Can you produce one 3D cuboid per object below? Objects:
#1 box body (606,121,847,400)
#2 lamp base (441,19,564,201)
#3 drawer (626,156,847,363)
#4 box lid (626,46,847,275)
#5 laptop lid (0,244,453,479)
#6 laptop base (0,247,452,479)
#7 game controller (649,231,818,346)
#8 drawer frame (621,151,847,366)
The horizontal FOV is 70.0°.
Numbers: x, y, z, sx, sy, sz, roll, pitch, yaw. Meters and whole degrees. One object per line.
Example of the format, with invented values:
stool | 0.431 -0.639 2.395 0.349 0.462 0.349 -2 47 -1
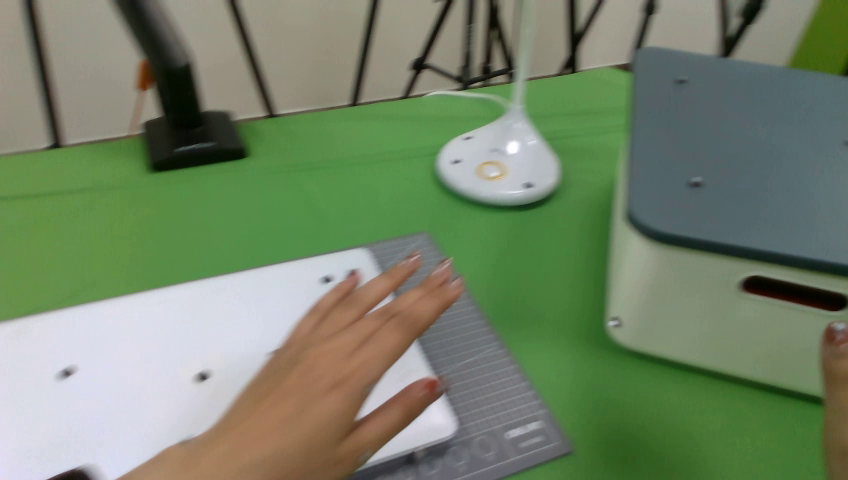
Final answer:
box body | 0.335 -0.035 0.623 0.253 0.162 0.362 13 40 11
lamp base | 0.108 -0.168 0.746 0.160 0.182 0.178 13 38 11
drawer | 0.313 0.008 0.616 0.194 0.074 0.210 11 40 7
box lid | 0.329 -0.093 0.566 0.262 0.015 0.369 12 41 12
laptop lid | -0.178 0.111 0.493 0.358 0.013 0.239 -11 44 -18
laptop base | -0.180 0.118 0.502 0.355 0.023 0.232 -12 46 -19
game controller | 0.305 0.044 0.592 0.155 0.052 0.096 9 69 5
drawer frame | 0.310 0.007 0.618 0.201 0.083 0.212 11 39 7
